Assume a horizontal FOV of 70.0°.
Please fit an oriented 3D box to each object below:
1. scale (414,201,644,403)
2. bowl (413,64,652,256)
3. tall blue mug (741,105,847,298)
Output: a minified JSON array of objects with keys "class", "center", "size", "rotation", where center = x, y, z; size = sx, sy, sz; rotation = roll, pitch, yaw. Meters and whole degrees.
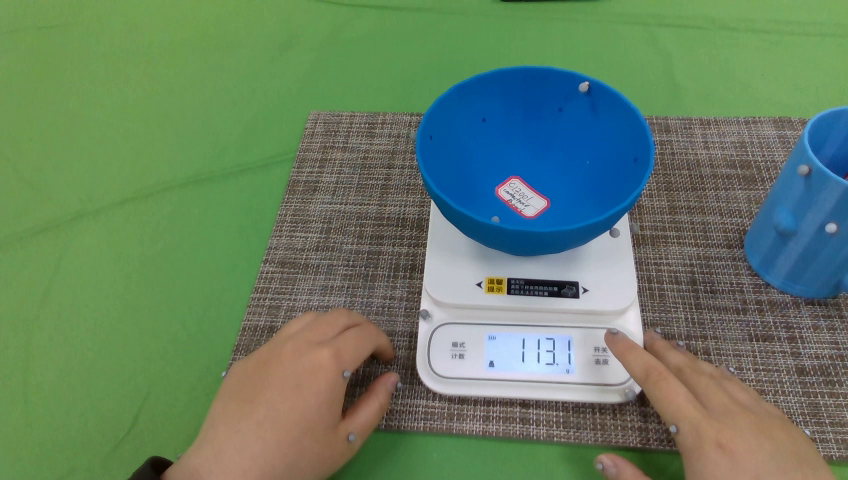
[{"class":"scale","center":[0.074,0.015,0.437],"size":[0.148,0.032,0.199],"rotation":[2,54,6]},{"class":"bowl","center":[0.070,-0.041,0.413],"size":[0.151,0.077,0.150],"rotation":[-2,53,2]},{"class":"tall blue mug","center":[0.279,-0.014,0.393],"size":[0.106,0.109,0.077],"rotation":[36,63,28]}]
